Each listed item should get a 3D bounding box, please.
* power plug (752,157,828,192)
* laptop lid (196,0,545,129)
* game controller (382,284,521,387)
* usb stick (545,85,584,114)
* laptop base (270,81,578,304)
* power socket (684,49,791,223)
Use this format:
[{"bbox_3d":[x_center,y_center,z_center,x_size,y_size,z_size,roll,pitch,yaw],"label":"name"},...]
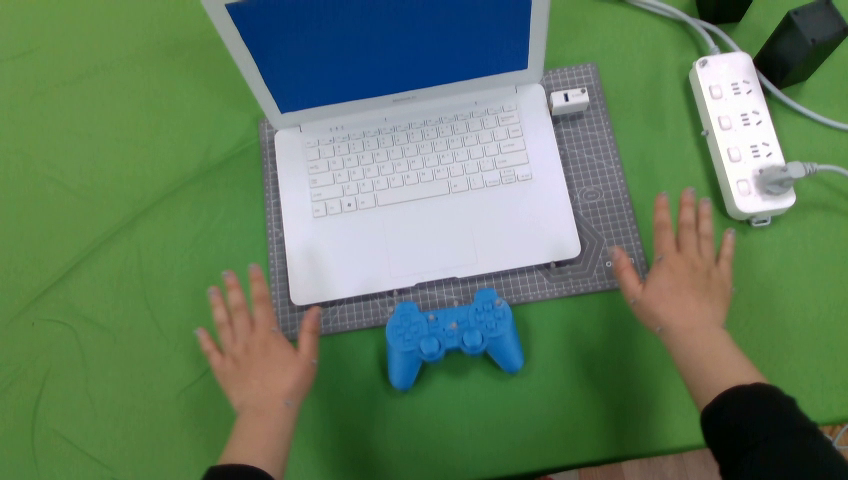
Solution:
[{"bbox_3d":[0.414,-0.072,0.693,0.072,0.053,0.035,4,73,1],"label":"power plug"},{"bbox_3d":[-0.040,-0.224,0.678,0.357,0.243,0.013,-11,65,3],"label":"laptop lid"},{"bbox_3d":[0.027,0.106,0.685,0.155,0.052,0.096,-9,71,1],"label":"game controller"},{"bbox_3d":[0.168,-0.175,0.758,0.059,0.027,0.021,-11,73,6],"label":"usb stick"},{"bbox_3d":[-0.008,-0.062,0.753,0.354,0.023,0.234,-10,76,1],"label":"laptop base"},{"bbox_3d":[0.377,-0.132,0.734,0.072,0.033,0.225,-8,73,3],"label":"power socket"}]
